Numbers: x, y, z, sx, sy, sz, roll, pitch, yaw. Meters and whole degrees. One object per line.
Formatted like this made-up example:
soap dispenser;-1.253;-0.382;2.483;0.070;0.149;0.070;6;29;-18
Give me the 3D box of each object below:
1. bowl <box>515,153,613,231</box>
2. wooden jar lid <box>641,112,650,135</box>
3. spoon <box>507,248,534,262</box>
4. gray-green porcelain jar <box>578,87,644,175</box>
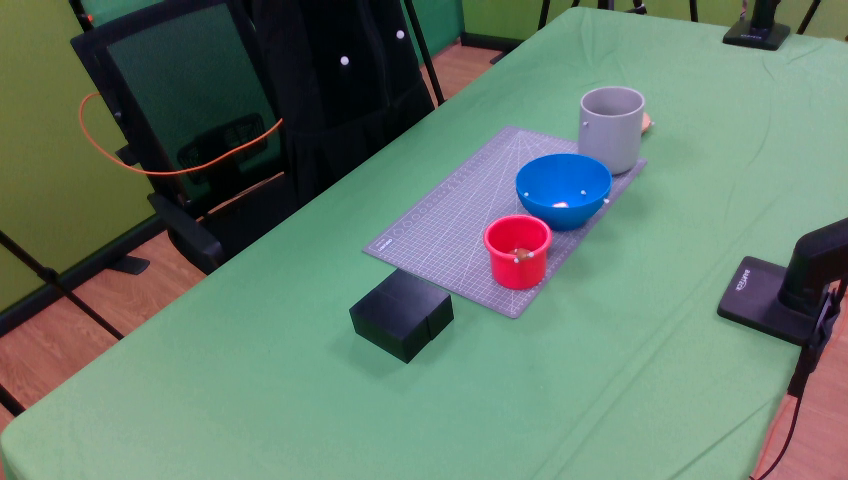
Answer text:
bowl;0.224;-0.068;0.972;0.151;0.077;0.150;-5;40;5
wooden jar lid;0.382;-0.225;1.178;0.108;0.021;0.108;-5;40;4
spoon;0.135;0.020;0.835;0.041;0.021;0.194;-2;-4;8
gray-green porcelain jar;0.324;-0.185;1.055;0.106;0.127;0.105;-5;40;5
